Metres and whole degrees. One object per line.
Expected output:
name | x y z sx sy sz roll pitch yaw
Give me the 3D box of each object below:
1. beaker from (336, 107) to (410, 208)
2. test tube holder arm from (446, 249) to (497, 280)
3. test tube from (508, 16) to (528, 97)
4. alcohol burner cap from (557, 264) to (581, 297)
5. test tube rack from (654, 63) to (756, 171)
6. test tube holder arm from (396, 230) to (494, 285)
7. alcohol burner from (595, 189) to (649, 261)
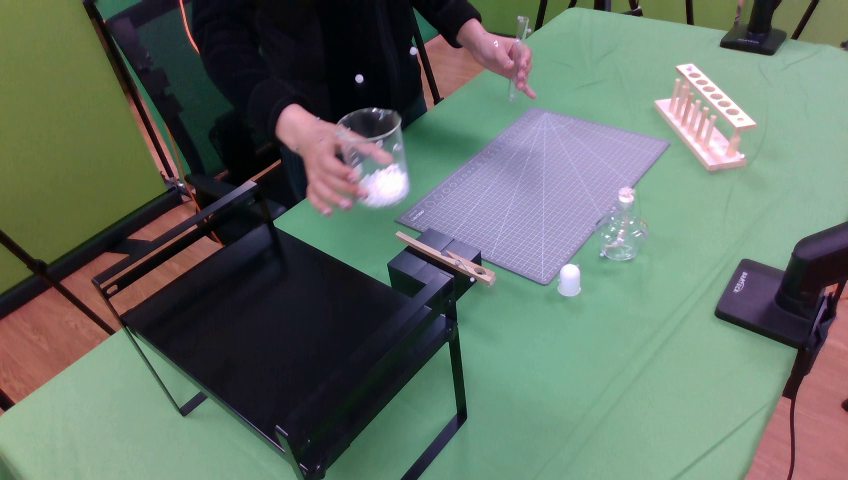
beaker | -0.055 -0.096 0.711 0.073 0.101 0.084 6 42 17
test tube holder arm | 0.064 0.035 0.851 0.087 0.015 0.010 25 62 32
test tube | 0.162 -0.314 1.048 0.017 0.151 0.017 1 47 -1
alcohol burner cap | 0.208 0.055 0.866 0.034 0.048 0.033 -4 42 4
test tube rack | 0.510 -0.233 1.120 0.067 0.085 0.241 -8 41 -1
test tube holder arm | 0.026 0.023 0.872 0.177 0.015 0.013 25 62 32
alcohol burner | 0.294 -0.028 0.894 0.078 0.119 0.077 -4 43 4
